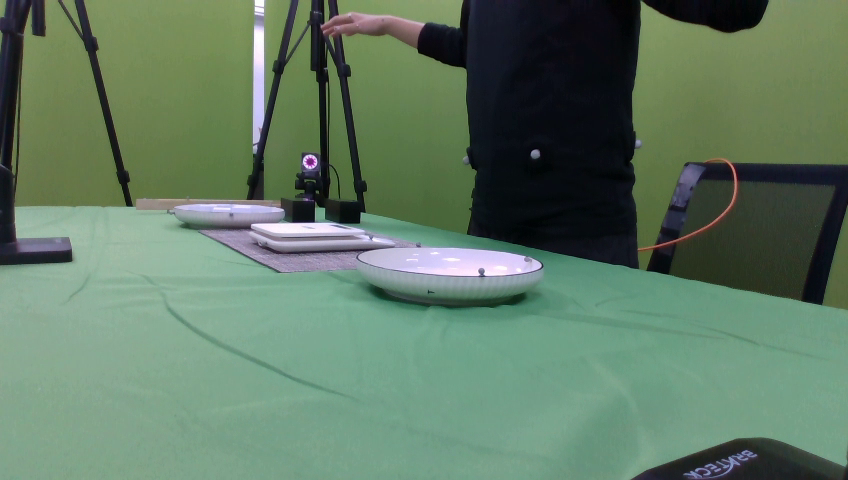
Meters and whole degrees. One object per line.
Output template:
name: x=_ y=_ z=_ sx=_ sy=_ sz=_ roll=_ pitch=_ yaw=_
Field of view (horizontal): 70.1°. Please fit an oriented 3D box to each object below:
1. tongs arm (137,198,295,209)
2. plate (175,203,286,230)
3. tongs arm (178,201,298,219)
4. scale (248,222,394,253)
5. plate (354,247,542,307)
tongs arm: x=-0.489 y=-0.086 z=1.472 sx=0.050 sy=0.026 sz=0.387 roll=10 pitch=9 yaw=43
plate: x=-0.380 y=-0.047 z=1.199 sx=0.208 sy=0.039 sz=0.207 roll=3 pitch=7 yaw=0
tongs arm: x=-0.418 y=-0.072 z=1.419 sx=0.028 sy=0.028 sz=0.389 roll=4 pitch=6 yaw=28
scale: x=-0.162 y=-0.006 z=0.954 sx=0.202 sy=0.031 sz=0.148 roll=-1 pitch=9 yaw=-32
plate: x=0.025 y=0.039 z=0.672 sx=0.209 sy=0.038 sz=0.209 roll=3 pitch=7 yaw=0
